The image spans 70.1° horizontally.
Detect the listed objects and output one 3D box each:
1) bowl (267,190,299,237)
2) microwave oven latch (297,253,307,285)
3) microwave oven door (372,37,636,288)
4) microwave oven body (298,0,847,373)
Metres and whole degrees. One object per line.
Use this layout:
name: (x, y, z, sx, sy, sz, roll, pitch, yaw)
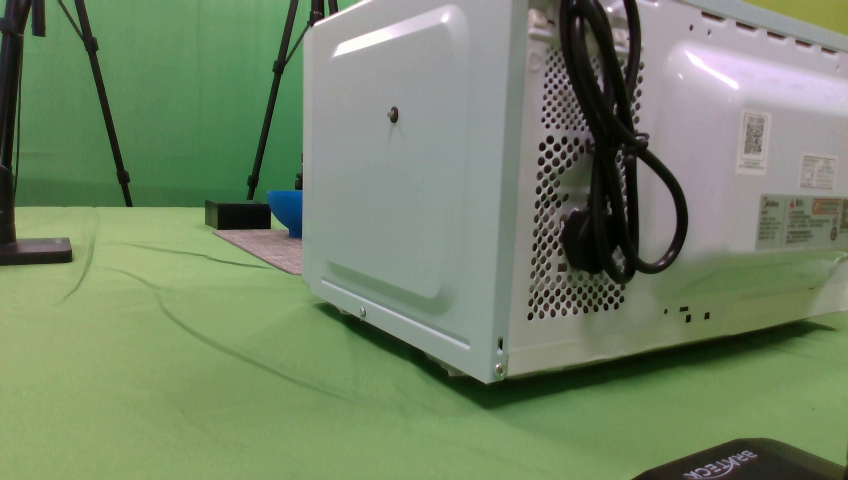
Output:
bowl: (-0.202, -0.046, 1.069, 0.151, 0.077, 0.151, 3, 7, 0)
microwave oven latch: (-0.082, 0.027, 0.583, 0.079, 0.029, 0.030, -1, 7, -33)
microwave oven door: (0.110, -0.080, 0.686, 0.358, 0.243, 0.039, -2, 9, -33)
microwave oven body: (0.151, -0.055, 0.543, 0.444, 0.260, 0.324, -1, 7, -33)
